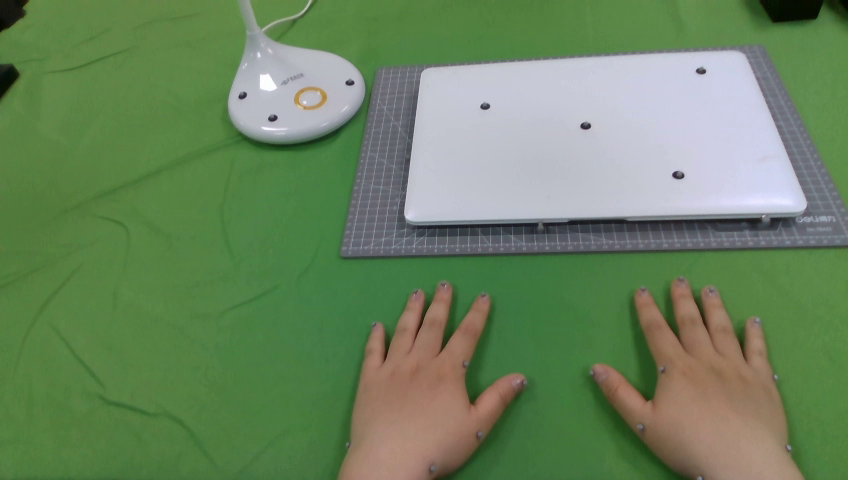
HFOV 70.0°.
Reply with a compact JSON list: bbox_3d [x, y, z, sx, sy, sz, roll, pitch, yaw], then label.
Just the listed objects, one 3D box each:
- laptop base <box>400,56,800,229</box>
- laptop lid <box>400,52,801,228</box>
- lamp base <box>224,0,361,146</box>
[{"bbox_3d":[0.159,-0.102,0.616,0.354,0.023,0.233,-1,53,7],"label":"laptop base"},{"bbox_3d":[0.158,-0.108,0.606,0.356,0.013,0.239,0,52,8],"label":"laptop lid"},{"bbox_3d":[-0.171,-0.221,0.658,0.177,0.182,0.160,31,60,32],"label":"lamp base"}]
